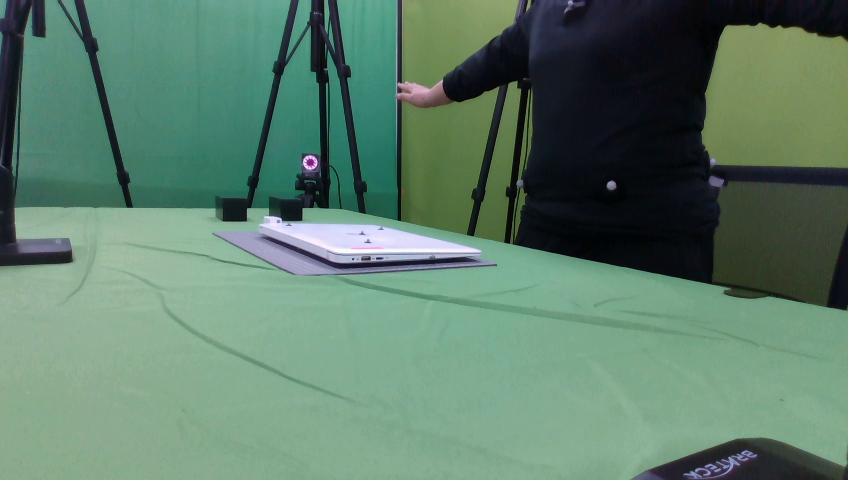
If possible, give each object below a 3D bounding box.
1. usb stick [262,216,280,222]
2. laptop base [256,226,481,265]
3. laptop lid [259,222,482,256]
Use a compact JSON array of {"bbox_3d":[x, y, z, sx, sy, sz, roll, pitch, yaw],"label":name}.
[{"bbox_3d":[-0.271,-0.028,1.079,0.021,0.027,0.059,-1,10,-29],"label":"usb stick"},{"bbox_3d":[-0.103,0.007,0.961,0.237,0.023,0.352,2,6,-32],"label":"laptop base"},{"bbox_3d":[-0.100,-0.005,0.961,0.243,0.013,0.355,1,7,-30],"label":"laptop lid"}]
